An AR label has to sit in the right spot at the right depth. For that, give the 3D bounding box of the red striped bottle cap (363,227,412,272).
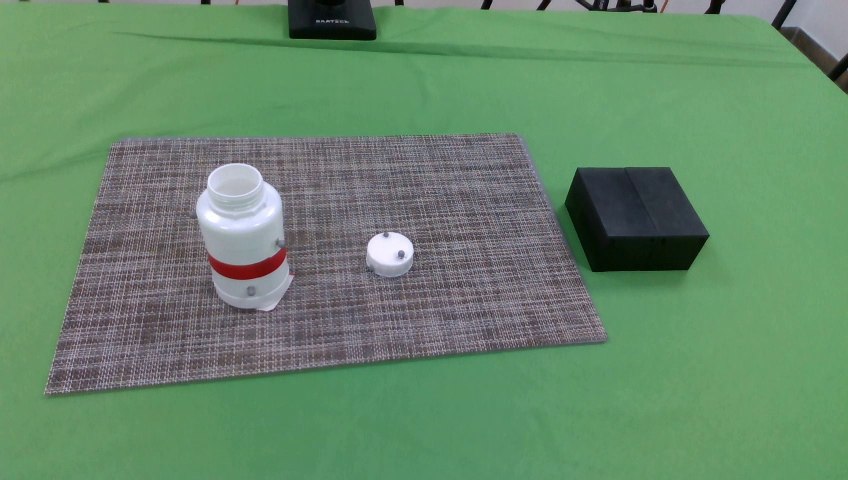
[{"bbox_3d":[-0.033,0.008,0.563,0.045,0.018,0.044,9,44,-8],"label":"red striped bottle cap"}]

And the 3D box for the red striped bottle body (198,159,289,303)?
[{"bbox_3d":[-0.145,-0.008,0.490,0.063,0.120,0.062,4,47,-4],"label":"red striped bottle body"}]
